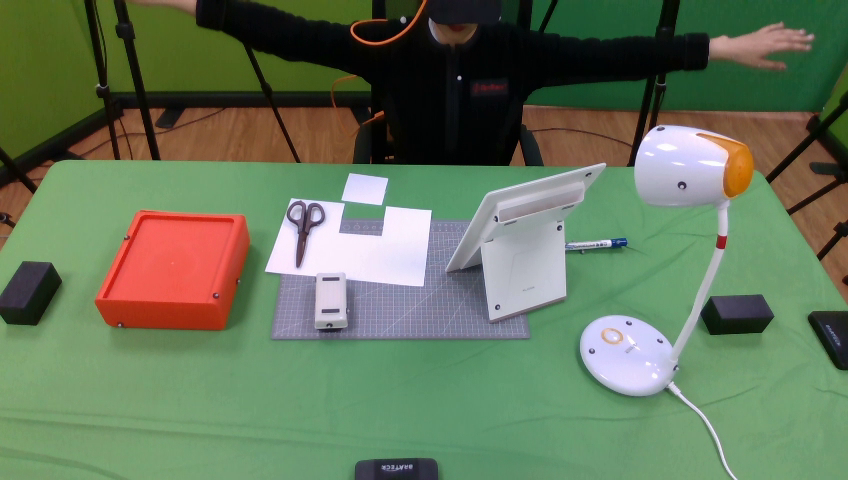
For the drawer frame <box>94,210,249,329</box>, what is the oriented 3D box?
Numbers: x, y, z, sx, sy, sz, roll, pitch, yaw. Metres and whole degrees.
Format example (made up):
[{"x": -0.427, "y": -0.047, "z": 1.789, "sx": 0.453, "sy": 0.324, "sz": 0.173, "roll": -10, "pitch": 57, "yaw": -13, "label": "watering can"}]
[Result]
[{"x": -0.434, "y": 0.048, "z": 1.076, "sx": 0.202, "sy": 0.083, "sz": 0.212, "roll": 2, "pitch": 47, "yaw": -3, "label": "drawer frame"}]

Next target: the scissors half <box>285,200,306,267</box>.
[{"x": -0.251, "y": -0.014, "z": 1.192, "sx": 0.040, "sy": 0.013, "sz": 0.174, "roll": 2, "pitch": 49, "yaw": -17, "label": "scissors half"}]

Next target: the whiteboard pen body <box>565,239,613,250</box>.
[{"x": 0.331, "y": 0.008, "z": 1.211, "sx": 0.141, "sy": 0.017, "sz": 0.017, "roll": -5, "pitch": 47, "yaw": -4, "label": "whiteboard pen body"}]

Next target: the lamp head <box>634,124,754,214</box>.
[{"x": 0.351, "y": -0.089, "z": 0.775, "sx": 0.112, "sy": 0.113, "sz": 0.122, "roll": -30, "pitch": 30, "yaw": -28, "label": "lamp head"}]

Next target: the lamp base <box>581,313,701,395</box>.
[{"x": 0.361, "y": 0.144, "z": 0.972, "sx": 0.178, "sy": 0.181, "sz": 0.160, "roll": 34, "pitch": 53, "yaw": 23, "label": "lamp base"}]

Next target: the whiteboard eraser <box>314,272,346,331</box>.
[{"x": -0.165, "y": 0.107, "z": 1.063, "sx": 0.055, "sy": 0.042, "sz": 0.112, "roll": -3, "pitch": 46, "yaw": -5, "label": "whiteboard eraser"}]

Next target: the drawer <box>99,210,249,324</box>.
[{"x": -0.435, "y": 0.044, "z": 1.081, "sx": 0.194, "sy": 0.073, "sz": 0.210, "roll": 3, "pitch": 47, "yaw": -2, "label": "drawer"}]

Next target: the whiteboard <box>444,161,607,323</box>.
[{"x": 0.186, "y": 0.025, "z": 1.029, "sx": 0.217, "sy": 0.306, "sz": 0.143, "roll": -14, "pitch": 68, "yaw": -18, "label": "whiteboard"}]

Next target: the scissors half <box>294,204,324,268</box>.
[{"x": -0.231, "y": -0.010, "z": 1.197, "sx": 0.040, "sy": 0.013, "sz": 0.174, "roll": 20, "pitch": 45, "yaw": -8, "label": "scissors half"}]

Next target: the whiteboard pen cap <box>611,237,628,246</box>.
[{"x": 0.390, "y": 0.004, "z": 1.215, "sx": 0.033, "sy": 0.018, "sz": 0.018, "roll": -7, "pitch": 47, "yaw": -2, "label": "whiteboard pen cap"}]
